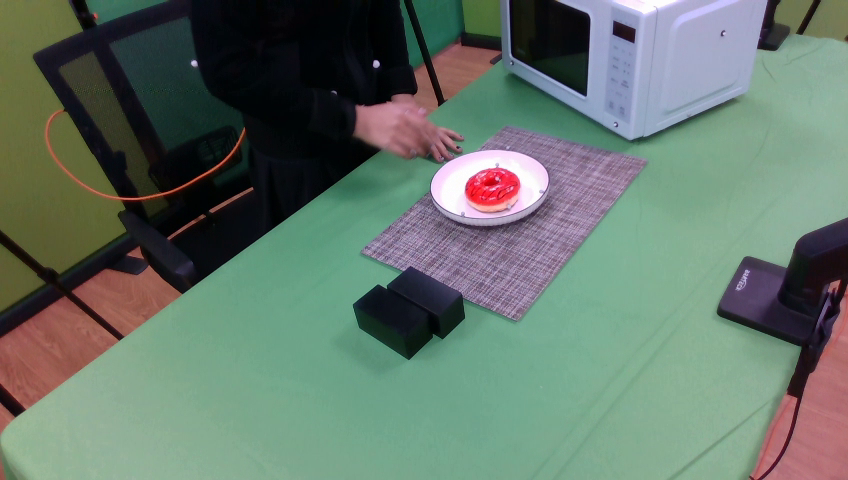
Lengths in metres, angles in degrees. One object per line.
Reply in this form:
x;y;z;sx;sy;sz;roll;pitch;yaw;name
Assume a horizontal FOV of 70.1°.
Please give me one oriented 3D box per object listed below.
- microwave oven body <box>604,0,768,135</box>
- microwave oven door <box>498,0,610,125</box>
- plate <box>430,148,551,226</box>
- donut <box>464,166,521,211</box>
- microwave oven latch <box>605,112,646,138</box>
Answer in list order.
0.410;-0.441;1.235;0.327;0.261;0.437;-25;42;-16;microwave oven body
0.261;-0.410;1.219;0.039;0.245;0.352;-24;42;-17;microwave oven door
0.114;-0.089;1.049;0.209;0.038;0.208;-5;40;5;plate
0.117;-0.089;1.031;0.099;0.048;0.098;-7;41;7;donut
0.375;-0.217;1.130;0.030;0.029;0.078;-24;42;-16;microwave oven latch
